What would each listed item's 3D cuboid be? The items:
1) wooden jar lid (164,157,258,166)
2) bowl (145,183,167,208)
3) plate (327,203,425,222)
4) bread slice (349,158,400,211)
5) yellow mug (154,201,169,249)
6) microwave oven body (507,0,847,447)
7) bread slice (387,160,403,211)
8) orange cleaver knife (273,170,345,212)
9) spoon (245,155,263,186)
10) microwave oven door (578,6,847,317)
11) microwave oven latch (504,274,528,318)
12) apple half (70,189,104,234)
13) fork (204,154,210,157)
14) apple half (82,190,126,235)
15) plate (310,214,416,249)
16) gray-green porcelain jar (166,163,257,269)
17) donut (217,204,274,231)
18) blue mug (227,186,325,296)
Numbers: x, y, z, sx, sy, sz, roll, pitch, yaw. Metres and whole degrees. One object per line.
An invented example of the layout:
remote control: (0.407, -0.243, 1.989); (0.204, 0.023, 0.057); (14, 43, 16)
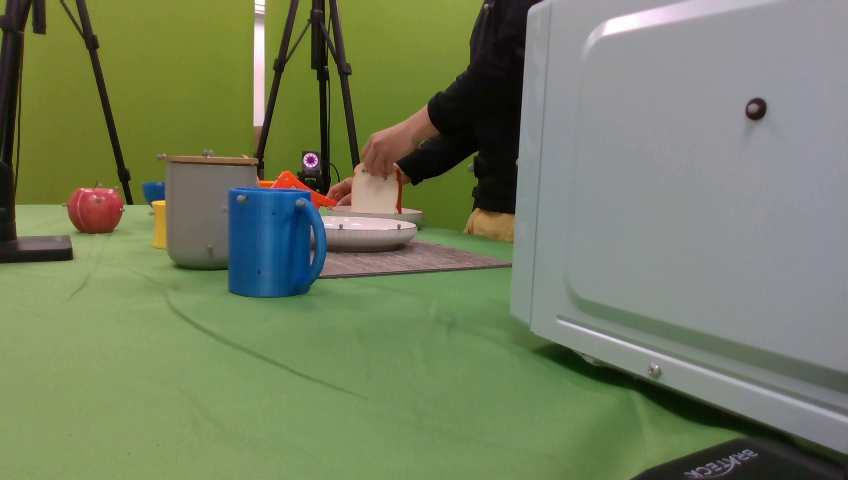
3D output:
wooden jar lid: (-0.261, -0.093, 0.746); (0.108, 0.020, 0.108); (1, 9, 0)
bowl: (-0.459, -0.068, 1.175); (0.151, 0.077, 0.151); (3, 7, 0)
plate: (-0.102, -0.053, 1.299); (0.209, 0.038, 0.209); (2, 8, 0)
bread slice: (-0.103, -0.103, 1.263); (0.107, 0.134, 0.018); (-1, -3, 4)
yellow mug: (-0.338, -0.022, 0.899); (0.130, 0.064, 0.100); (8, 9, 35)
microwave oven body: (0.331, -0.042, 0.425); (0.444, 0.260, 0.324); (-2, 8, -31)
bread slice: (-0.094, -0.110, 1.322); (0.105, 0.131, 0.019); (4, 4, 8)
orange cleaver knife: (-0.253, -0.089, 1.368); (0.212, 0.077, 0.012); (26, -8, -42)
spoon: (-0.421, -0.150, 1.540); (0.042, 0.021, 0.193); (-5, 55, -37)
microwave oven door: (0.294, -0.067, 0.570); (0.358, 0.243, 0.039); (-3, 9, -31)
microwave oven latch: (0.100, 0.041, 0.471); (0.079, 0.029, 0.030); (-1, 8, -28)
apple half: (-0.552, -0.048, 1.009); (0.053, 0.074, 0.081); (-1, 9, 26)
fork: (-0.480, -0.136, 1.412); (0.028, 0.018, 0.207); (0, -34, -1)
apple half: (-0.516, -0.046, 0.994); (0.032, 0.081, 0.081); (0, 6, 26)
plate: (-0.117, -0.014, 0.967); (0.208, 0.039, 0.207); (2, 7, 0)
gray-green porcelain jar: (-0.263, -0.031, 0.754); (0.106, 0.126, 0.106); (2, 7, 0)
donut: (-0.317, -0.038, 1.080); (0.099, 0.048, 0.099); (3, 7, 0)
blue mug: (-0.146, 0.000, 0.618); (0.116, 0.106, 0.083); (7, 9, 32)
